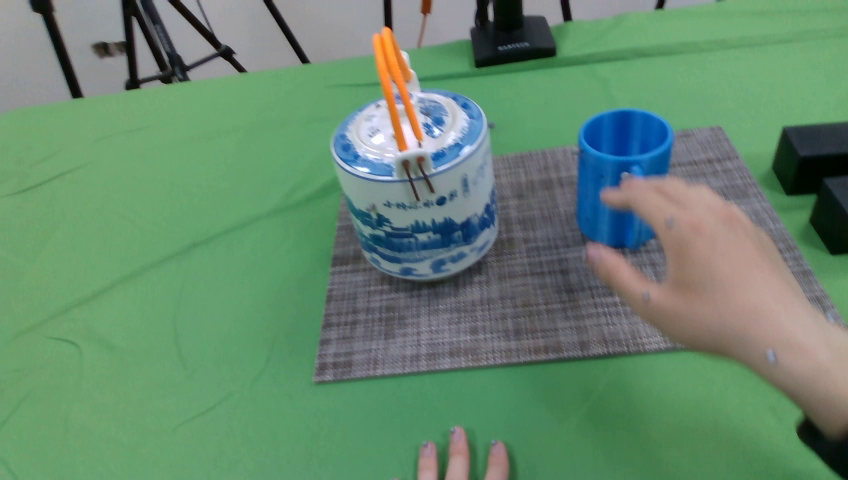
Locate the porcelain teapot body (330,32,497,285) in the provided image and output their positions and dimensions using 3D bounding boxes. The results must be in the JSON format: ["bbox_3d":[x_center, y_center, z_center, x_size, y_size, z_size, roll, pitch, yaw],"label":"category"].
[{"bbox_3d":[-0.015,-0.094,0.582,0.145,0.227,0.203,-12,42,0],"label":"porcelain teapot body"}]

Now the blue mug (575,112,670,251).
[{"bbox_3d":[0.189,-0.046,0.573,0.082,0.107,0.115,-7,43,6],"label":"blue mug"}]

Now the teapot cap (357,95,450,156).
[{"bbox_3d":[-0.019,-0.104,0.535,0.085,0.044,0.084,-4,42,4],"label":"teapot cap"}]
